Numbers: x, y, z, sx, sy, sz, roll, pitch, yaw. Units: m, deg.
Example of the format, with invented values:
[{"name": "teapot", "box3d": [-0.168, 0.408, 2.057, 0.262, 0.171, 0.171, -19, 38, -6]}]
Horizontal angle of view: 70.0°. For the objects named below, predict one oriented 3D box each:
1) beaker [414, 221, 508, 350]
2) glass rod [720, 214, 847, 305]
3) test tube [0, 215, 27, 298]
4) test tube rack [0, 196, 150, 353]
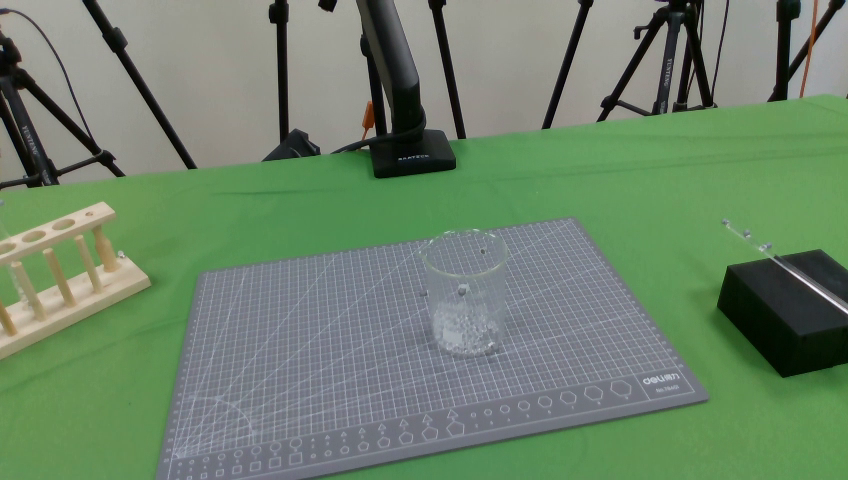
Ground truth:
[{"name": "beaker", "box3d": [0.034, 0.044, 0.556, 0.084, 0.101, 0.073, 4, 35, 13]}, {"name": "glass rod", "box3d": [0.342, 0.025, 0.551, 0.008, 0.008, 0.197, -14, 36, -14]}, {"name": "test tube", "box3d": [-0.419, -0.007, 0.596, 0.017, 0.151, 0.017, -4, 28, 3]}, {"name": "test tube rack", "box3d": [-0.416, 0.050, 0.603, 0.242, 0.086, 0.066, -31, 44, -34]}]
